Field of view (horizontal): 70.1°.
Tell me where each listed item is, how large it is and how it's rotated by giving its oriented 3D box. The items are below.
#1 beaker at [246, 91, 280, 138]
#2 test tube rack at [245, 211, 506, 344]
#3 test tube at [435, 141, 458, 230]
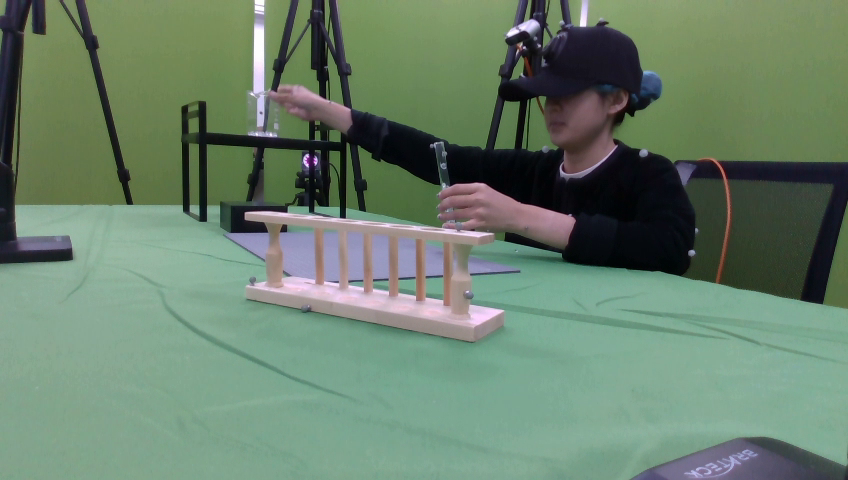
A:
[{"bbox_3d":[-0.361,-0.279,1.351,0.074,0.100,0.084,3,8,1],"label":"beaker"},{"bbox_3d":[-0.049,0.025,0.547,0.241,0.085,0.067,7,8,28],"label":"test tube rack"},{"bbox_3d":[0.036,-0.083,0.965,0.017,0.150,0.017,-9,9,2],"label":"test tube"}]
